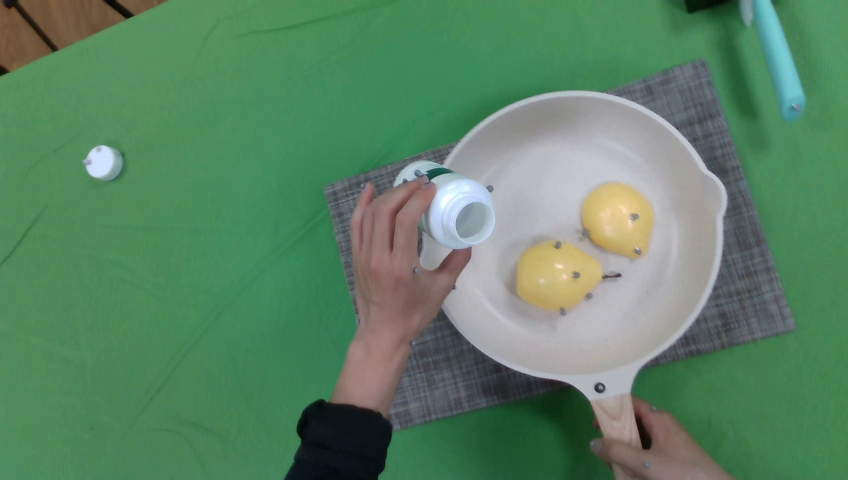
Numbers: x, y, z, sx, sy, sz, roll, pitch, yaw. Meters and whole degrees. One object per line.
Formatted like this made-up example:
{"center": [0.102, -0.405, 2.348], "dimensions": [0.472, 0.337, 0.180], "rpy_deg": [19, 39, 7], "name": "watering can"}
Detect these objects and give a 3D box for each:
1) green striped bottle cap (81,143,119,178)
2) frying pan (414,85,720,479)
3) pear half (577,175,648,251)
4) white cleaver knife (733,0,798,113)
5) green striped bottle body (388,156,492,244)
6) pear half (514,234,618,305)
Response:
{"center": [-0.423, -0.104, 0.792], "dimensions": [0.044, 0.020, 0.044], "rpy_deg": [-1, 86, 13], "name": "green striped bottle cap"}
{"center": [0.163, 0.088, 0.607], "dimensions": [0.306, 0.103, 0.485], "rpy_deg": [-15, 75, 12], "name": "frying pan"}
{"center": [0.202, -0.028, 0.640], "dimensions": [0.070, 0.031, 0.087], "rpy_deg": [-33, 77, 13], "name": "pear half"}
{"center": [0.323, -0.264, 0.615], "dimensions": [0.021, 0.066, 0.285], "rpy_deg": [-15, 82, 17], "name": "white cleaver knife"}
{"center": [0.015, -0.035, 0.542], "dimensions": [0.063, 0.118, 0.063], "rpy_deg": [-8, 110, -22], "name": "green striped bottle body"}
{"center": [0.149, 0.030, 0.637], "dimensions": [0.109, 0.056, 0.076], "rpy_deg": [-5, 90, 9], "name": "pear half"}
